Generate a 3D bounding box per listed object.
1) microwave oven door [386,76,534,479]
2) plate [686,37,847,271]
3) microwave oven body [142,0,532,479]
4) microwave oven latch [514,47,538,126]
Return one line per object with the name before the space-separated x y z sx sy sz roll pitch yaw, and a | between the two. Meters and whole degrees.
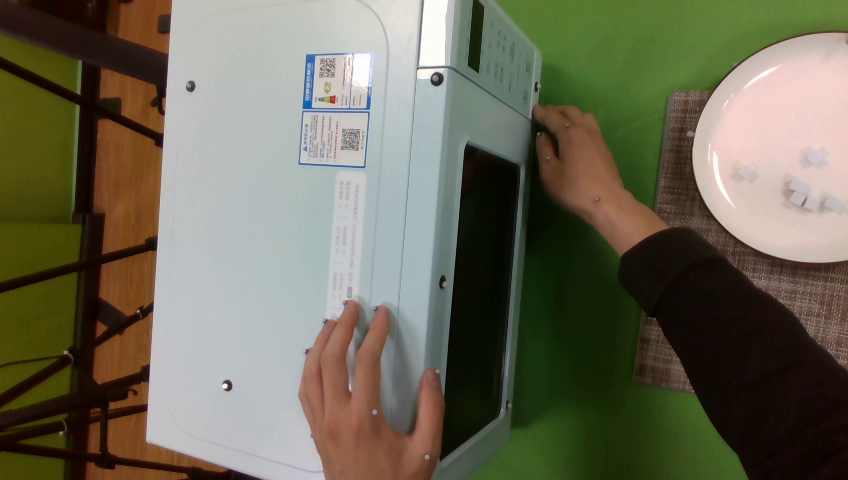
microwave oven door | 0.041 0.051 0.573 0.039 0.245 0.355 6 92 26
plate | 0.353 -0.075 0.551 0.208 0.038 0.209 0 90 25
microwave oven body | -0.084 -0.003 0.638 0.324 0.261 0.441 6 93 25
microwave oven latch | 0.106 -0.165 0.654 0.030 0.029 0.079 6 93 25
